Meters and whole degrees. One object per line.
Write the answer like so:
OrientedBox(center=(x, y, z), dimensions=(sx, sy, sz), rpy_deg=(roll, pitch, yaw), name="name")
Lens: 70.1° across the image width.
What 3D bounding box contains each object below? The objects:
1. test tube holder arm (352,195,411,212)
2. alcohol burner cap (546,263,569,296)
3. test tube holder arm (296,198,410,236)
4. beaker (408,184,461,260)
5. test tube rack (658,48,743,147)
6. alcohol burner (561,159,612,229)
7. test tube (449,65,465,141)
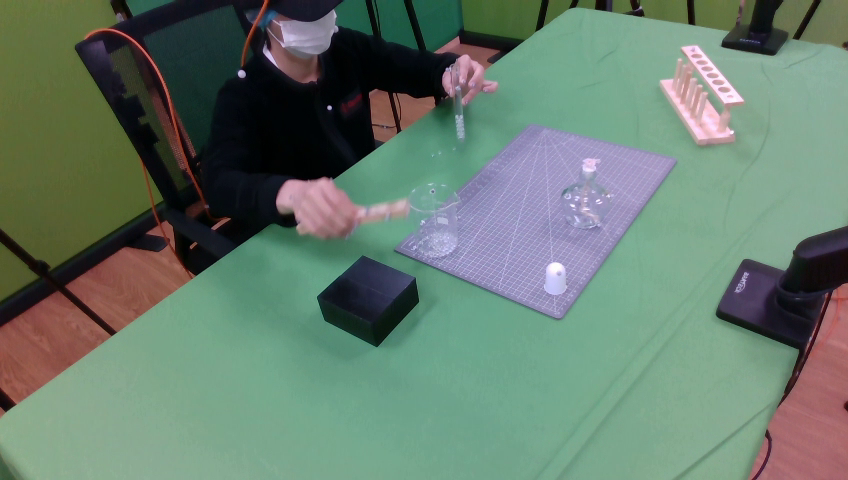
OrientedBox(center=(-0.058, -0.043, 0.811), dimensions=(0.087, 0.015, 0.010), rpy_deg=(-13, 27, 23), name="test tube holder arm")
OrientedBox(center=(0.191, 0.053, 0.862), dimensions=(0.034, 0.048, 0.033), rpy_deg=(-5, 40, 4), name="alcohol burner cap")
OrientedBox(center=(-0.100, -0.031, 0.824), dimensions=(0.177, 0.015, 0.013), rpy_deg=(-13, 27, 23), name="test tube holder arm")
OrientedBox(center=(0.019, -0.026, 0.939), dimensions=(0.084, 0.101, 0.074), rpy_deg=(1, 41, 9), name="beaker")
OrientedBox(center=(0.532, -0.284, 1.180), dimensions=(0.067, 0.085, 0.241), rpy_deg=(-5, 40, 4), name="test tube rack")
OrientedBox(center=(0.257, -0.077, 0.951), dimensions=(0.078, 0.119, 0.077), rpy_deg=(-3, 40, 3), name="alcohol burner")
OrientedBox(center=(0.059, -0.237, 1.064), dimensions=(0.017, 0.151, 0.017), rpy_deg=(-5, 45, 5), name="test tube")
